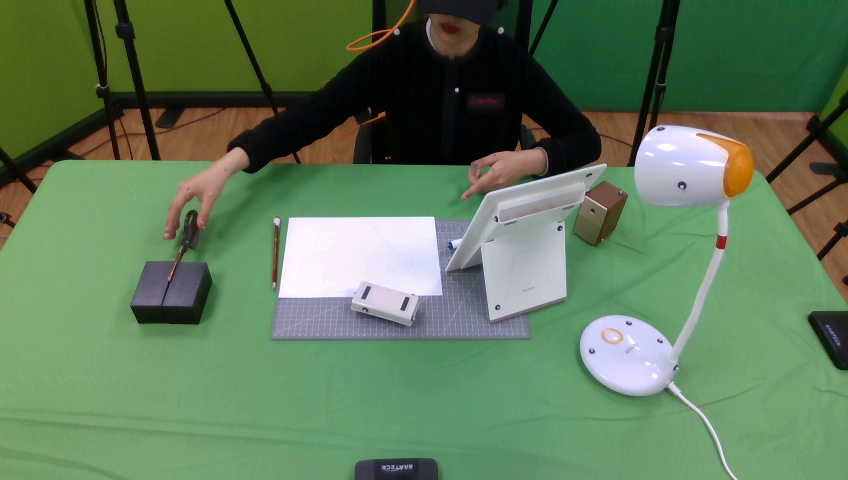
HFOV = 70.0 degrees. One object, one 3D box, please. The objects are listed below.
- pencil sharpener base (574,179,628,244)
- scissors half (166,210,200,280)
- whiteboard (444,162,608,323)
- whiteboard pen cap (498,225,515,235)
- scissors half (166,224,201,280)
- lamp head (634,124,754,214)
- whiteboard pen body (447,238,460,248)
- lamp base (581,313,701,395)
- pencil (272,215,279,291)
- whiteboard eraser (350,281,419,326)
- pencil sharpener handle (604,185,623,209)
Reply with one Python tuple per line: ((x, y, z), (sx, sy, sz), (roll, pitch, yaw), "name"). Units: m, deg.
((0.355, -0.057, 1.217), (0.076, 0.107, 0.061), (-33, 56, -31), "pencil sharpener base")
((-0.438, 0.007, 1.098), (0.013, 0.040, 0.174), (4, 46, -1), "scissors half")
((0.186, 0.025, 1.029), (0.217, 0.306, 0.143), (-14, 68, -18), "whiteboard")
((0.166, -0.019, 1.222), (0.033, 0.018, 0.018), (-14, 49, -19), "whiteboard pen cap")
((-0.441, 0.023, 1.110), (0.013, 0.040, 0.174), (8, 29, -4), "scissors half")
((0.351, -0.089, 0.775), (0.112, 0.113, 0.122), (-30, 30, -28), "lamp head")
((0.112, -0.005, 1.204), (0.141, 0.017, 0.017), (-13, 49, -18), "whiteboard pen body")
((0.361, 0.144, 0.973), (0.178, 0.181, 0.160), (34, 53, 23), "lamp base")
((-0.286, 0.022, 1.164), (0.012, 0.012, 0.192), (-4, 48, -8), "pencil")
((-0.069, 0.113, 1.065), (0.112, 0.042, 0.055), (14, 46, 9), "whiteboard eraser")
((0.390, -0.091, 1.235), (0.030, 0.068, 0.036), (-33, 69, -31), "pencil sharpener handle")
